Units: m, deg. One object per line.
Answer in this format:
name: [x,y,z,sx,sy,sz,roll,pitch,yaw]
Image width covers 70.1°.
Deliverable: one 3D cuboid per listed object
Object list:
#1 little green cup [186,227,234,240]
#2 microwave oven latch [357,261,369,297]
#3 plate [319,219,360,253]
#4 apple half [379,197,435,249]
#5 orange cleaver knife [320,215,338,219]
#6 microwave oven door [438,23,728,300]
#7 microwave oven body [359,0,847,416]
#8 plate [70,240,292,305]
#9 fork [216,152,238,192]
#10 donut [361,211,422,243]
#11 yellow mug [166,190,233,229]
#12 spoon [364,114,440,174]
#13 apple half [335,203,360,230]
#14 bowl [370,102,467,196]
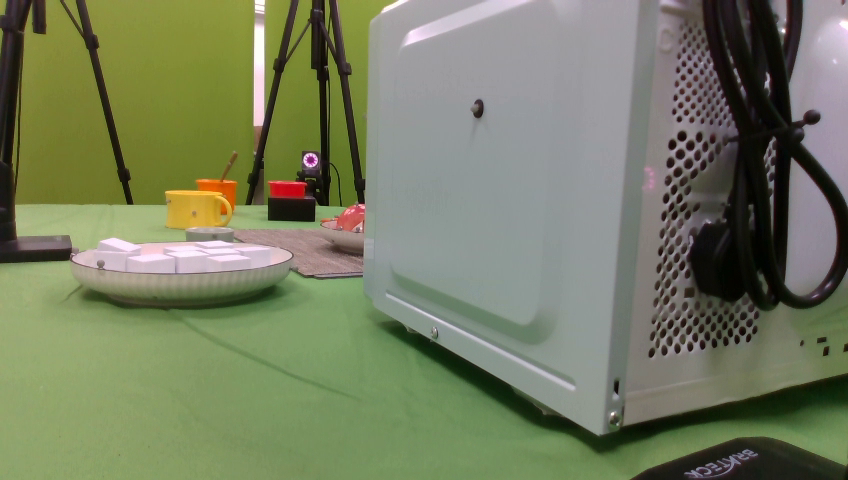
little green cup: [-0.284,0.005,0.805,0.061,0.038,0.061,2,8,0]
microwave oven latch: [-0.019,0.033,0.531,0.079,0.029,0.030,-1,7,-27]
plate: [-0.058,-0.007,0.939,0.209,0.038,0.209,3,8,0]
apple half: [-0.020,-0.030,0.891,0.081,0.053,0.074,-3,49,-26]
orange cleaver knife: [-0.142,-0.057,1.394,0.077,0.012,0.212,2,7,44]
microwave oven door: [0.181,-0.072,0.621,0.358,0.243,0.039,-2,8,-29]
microwave oven body: [0.211,-0.047,0.474,0.444,0.260,0.324,-1,7,-28]
plate: [-0.242,0.031,0.618,0.208,0.039,0.207,2,8,0]
fork: [-0.455,-0.132,1.367,0.028,0.018,0.207,-3,-35,-37]
donut: [-0.051,-0.019,0.958,0.099,0.048,0.099,7,7,0]
yellow mug: [-0.415,-0.057,1.132,0.130,0.064,0.100,6,8,16]
spoon: [-0.039,-0.154,0.952,0.042,0.021,0.193,-8,43,-40]
apple half: [-0.116,-0.038,0.959,0.081,0.033,0.081,-38,8,7]
bowl: [0.004,-0.118,0.887,0.152,0.151,0.076,-2,45,-29]
